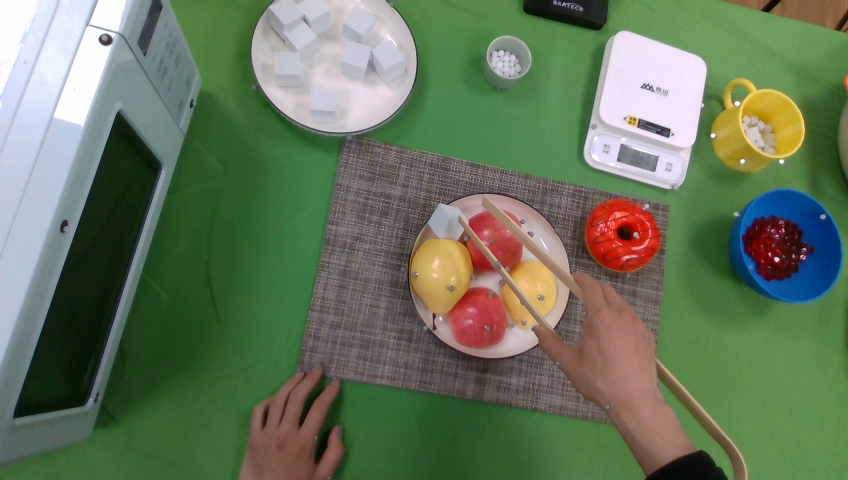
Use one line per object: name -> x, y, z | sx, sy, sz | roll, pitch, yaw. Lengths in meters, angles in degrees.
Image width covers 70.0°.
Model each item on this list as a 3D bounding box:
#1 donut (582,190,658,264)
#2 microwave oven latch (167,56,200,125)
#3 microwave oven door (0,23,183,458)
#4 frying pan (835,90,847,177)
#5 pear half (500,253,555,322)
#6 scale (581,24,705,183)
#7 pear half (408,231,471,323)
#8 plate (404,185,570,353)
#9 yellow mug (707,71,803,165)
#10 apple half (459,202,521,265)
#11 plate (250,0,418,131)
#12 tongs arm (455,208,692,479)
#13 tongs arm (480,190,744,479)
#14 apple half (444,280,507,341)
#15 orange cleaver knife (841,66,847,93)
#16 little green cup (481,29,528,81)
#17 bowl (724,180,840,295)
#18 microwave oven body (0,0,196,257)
donut -> 0.255, -0.017, 0.792 | 0.099, 0.048, 0.098 | 1, 80, -6
microwave oven latch -> -0.288, -0.179, 0.714 | 0.030, 0.029, 0.079 | 16, 79, -7
microwave oven door -> -0.320, 0.012, 0.571 | 0.039, 0.244, 0.354 | 13, 78, -7
frying pan -> 0.762, -0.052, 0.858 | 0.307, 0.103, 0.485 | -16, 75, -11
pear half -> 0.129, 0.057, 0.754 | 0.070, 0.031, 0.087 | 9, 76, 6
scale -> 0.305, -0.190, 0.841 | 0.149, 0.031, 0.200 | 15, 79, -6
pear half -> 0.020, 0.045, 0.722 | 0.077, 0.056, 0.109 | 6, 83, -18
plate -> 0.078, 0.036, 0.755 | 0.210, 0.038, 0.208 | 2, 80, -10
yellow mug -> 0.454, -0.176, 0.846 | 0.100, 0.064, 0.130 | -22, 84, -12
apple half -> 0.084, -0.010, 0.747 | 0.075, 0.053, 0.080 | -1, 84, -7
plate -> -0.113, -0.235, 0.773 | 0.208, 0.039, 0.207 | 2, 80, -9
tongs arm -> 0.165, 0.102, 0.626 | 0.051, 0.027, 0.382 | -33, 72, -13
tongs arm -> 0.184, 0.088, 0.632 | 0.028, 0.028, 0.385 | -36, 72, -17
apple half -> 0.065, 0.085, 0.736 | 0.081, 0.033, 0.081 | 3, 73, -9
orange cleaver knife -> 0.615, -0.149, 0.830 | 0.077, 0.012, 0.210 | 1, 81, -12
little green cup -> 0.105, -0.246, 0.813 | 0.062, 0.038, 0.061 | 2, 79, -9
bowl -> 0.460, 0.003, 0.811 | 0.152, 0.077, 0.151 | 2, 81, -9
microwave oven body -> -0.453, -0.062, 0.567 | 0.327, 0.260, 0.440 | 14, 79, -8
